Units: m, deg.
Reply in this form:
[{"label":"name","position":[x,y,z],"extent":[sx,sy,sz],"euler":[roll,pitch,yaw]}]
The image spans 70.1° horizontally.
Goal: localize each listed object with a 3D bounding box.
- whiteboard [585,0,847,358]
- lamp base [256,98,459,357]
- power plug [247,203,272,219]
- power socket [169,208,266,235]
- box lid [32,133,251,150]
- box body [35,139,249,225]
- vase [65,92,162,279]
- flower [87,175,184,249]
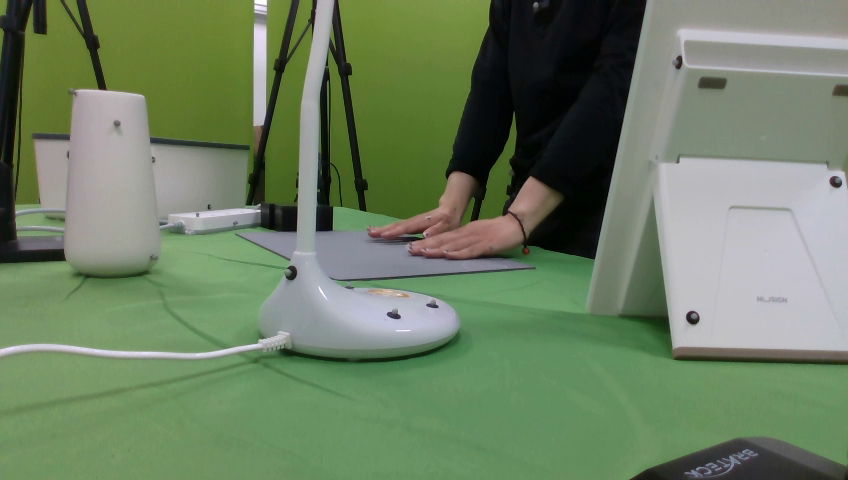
[{"label":"whiteboard","position":[0.269,-0.034,0.466],"extent":[0.217,0.305,0.143],"euler":[2,27,-1]},{"label":"lamp base","position":[-0.055,-0.013,0.463],"extent":[0.160,0.180,0.180],"euler":[6,11,27]},{"label":"power plug","position":[-0.361,-0.049,1.289],"extent":[0.052,0.035,0.072],"euler":[18,56,28]},{"label":"power socket","position":[-0.379,-0.038,1.130],"extent":[0.072,0.032,0.227],"euler":[4,8,18]},{"label":"box lid","position":[-0.558,-0.200,1.250],"extent":[0.263,0.015,0.372],"euler":[5,8,13]},{"label":"box body","position":[-0.561,-0.127,1.258],"extent":[0.254,0.160,0.365],"euler":[4,8,13]},{"label":"vase","position":[-0.347,-0.060,0.673],"extent":[0.098,0.200,0.098],"euler":[1,7,0]},{"label":"flower","position":[-0.610,-0.063,1.291],"extent":[0.044,0.038,0.361],"euler":[-5,25,9]}]
